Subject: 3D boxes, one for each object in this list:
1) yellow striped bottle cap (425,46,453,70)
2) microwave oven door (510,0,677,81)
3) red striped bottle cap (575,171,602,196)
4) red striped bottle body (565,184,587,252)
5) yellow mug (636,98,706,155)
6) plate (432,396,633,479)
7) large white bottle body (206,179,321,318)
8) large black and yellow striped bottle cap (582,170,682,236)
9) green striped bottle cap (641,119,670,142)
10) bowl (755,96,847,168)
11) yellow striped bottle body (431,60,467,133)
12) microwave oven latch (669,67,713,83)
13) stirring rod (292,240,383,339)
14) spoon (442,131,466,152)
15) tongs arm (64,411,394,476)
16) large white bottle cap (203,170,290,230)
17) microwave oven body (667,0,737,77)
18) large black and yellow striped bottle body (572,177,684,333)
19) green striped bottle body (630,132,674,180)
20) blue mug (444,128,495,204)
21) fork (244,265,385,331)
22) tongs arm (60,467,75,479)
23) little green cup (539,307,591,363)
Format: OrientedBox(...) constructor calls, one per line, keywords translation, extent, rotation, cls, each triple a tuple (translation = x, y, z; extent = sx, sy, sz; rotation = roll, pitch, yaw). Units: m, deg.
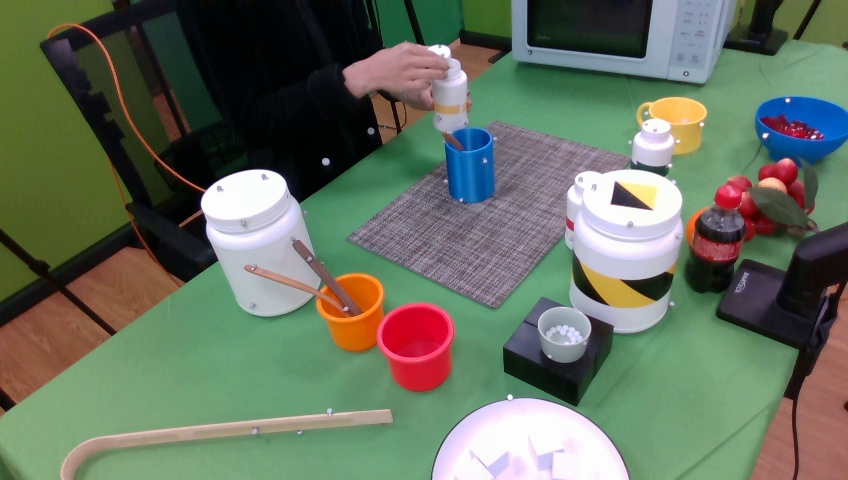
OrientedBox(translation=(0.025, -0.302, 1.004), extent=(0.044, 0.019, 0.044), rotation=(-5, 51, 6), cls="yellow striped bottle cap")
OrientedBox(translation=(0.354, -0.478, 1.290), extent=(0.353, 0.245, 0.039), rotation=(15, 45, 25), cls="microwave oven door")
OrientedBox(translation=(0.242, -0.081, 0.876), extent=(0.044, 0.018, 0.044), rotation=(-5, 44, 5), cls="red striped bottle cap")
OrientedBox(translation=(0.247, -0.041, 0.910), extent=(0.063, 0.120, 0.062), rotation=(-3, 39, 3), cls="red striped bottle body")
OrientedBox(translation=(0.453, -0.217, 1.128), extent=(0.100, 0.064, 0.129), rotation=(-34, 46, -27), cls="yellow mug")
OrientedBox(translation=(0.112, 0.261, 0.634), extent=(0.209, 0.038, 0.208), rotation=(-5, 40, 4), cls="plate")
OrientedBox(translation=(-0.233, 0.007, 0.876), extent=(0.130, 0.185, 0.130), rotation=(-5, 40, 4), cls="large white bottle body")
OrientedBox(translation=(0.252, -0.048, 0.735), extent=(0.115, 0.019, 0.114), rotation=(-3, 40, 3), cls="large black and yellow striped bottle cap")
OrientedBox(translation=(0.371, -0.175, 0.968), extent=(0.044, 0.020, 0.044), rotation=(-5, 41, 5), cls="green striped bottle cap")
OrientedBox(translation=(0.645, -0.177, 1.041), extent=(0.151, 0.077, 0.150), rotation=(-5, 40, 4), cls="bowl")
OrientedBox(translation=(0.045, -0.255, 1.070), extent=(0.063, 0.121, 0.062), rotation=(-1, 44, 2), cls="yellow striped bottle body")
OrientedBox(translation=(0.556, -0.349, 1.261), extent=(0.078, 0.029, 0.030), rotation=(16, 46, 27), cls="microwave oven latch")
OrientedBox(translation=(-0.118, 0.068, 0.826), extent=(0.176, 0.006, 0.014), rotation=(49, 59, -4), cls="stirring rod")
OrientedBox(translation=(0.062, -0.144, 1.000), extent=(0.041, 0.195, 0.021), rotation=(11, 79, 23), cls="spoon")
OrientedBox(translation=(-0.228, 0.241, 0.715), extent=(0.385, 0.026, 0.050), rotation=(-5, 43, 4), cls="tongs arm")
OrientedBox(translation=(-0.241, -0.057, 0.822), extent=(0.115, 0.018, 0.114), rotation=(-4, 40, 4), cls="large white bottle cap")
OrientedBox(translation=(0.462, -0.552, 1.369), extent=(0.439, 0.261, 0.326), rotation=(15, 45, 26), cls="microwave oven body")
OrientedBox(translation=(0.262, 0.017, 0.788), extent=(0.131, 0.185, 0.130), rotation=(-5, 40, 4), cls="large black and yellow striped bottle body")
OrientedBox(translation=(0.376, -0.135, 1.001), extent=(0.063, 0.120, 0.063), rotation=(-5, 41, 5), cls="green striped bottle body")
OrientedBox(translation=(0.081, -0.139, 1.058), extent=(0.082, 0.106, 0.116), rotation=(-4, 40, 4), cls="blue mug")
OrientedBox(translation=(-0.142, 0.078, 0.806), extent=(0.209, 0.018, 0.028), rotation=(30, 33, -24), cls="fork")
OrientedBox(translation=(-0.239, 0.301, 0.648), extent=(0.386, 0.028, 0.028), rotation=(6, 49, 16), cls="tongs arm")
OrientedBox(translation=(0.167, 0.114, 0.721), extent=(0.061, 0.039, 0.061), rotation=(-4, 43, 4), cls="little green cup")
